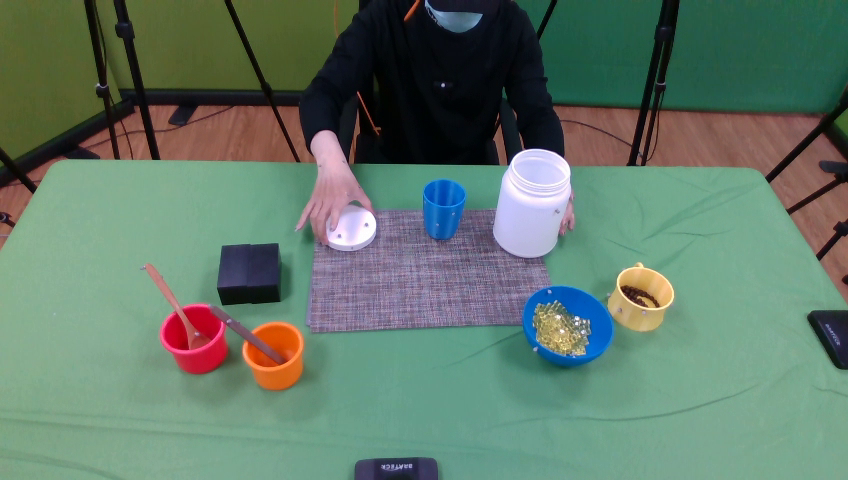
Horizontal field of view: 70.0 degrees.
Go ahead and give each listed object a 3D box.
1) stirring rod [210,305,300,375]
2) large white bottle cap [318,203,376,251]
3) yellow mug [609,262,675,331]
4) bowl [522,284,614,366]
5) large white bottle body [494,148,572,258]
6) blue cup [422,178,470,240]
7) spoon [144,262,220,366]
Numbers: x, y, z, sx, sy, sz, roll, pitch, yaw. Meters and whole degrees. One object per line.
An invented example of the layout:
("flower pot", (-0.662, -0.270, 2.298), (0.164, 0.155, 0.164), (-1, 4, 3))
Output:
("stirring rod", (-0.262, 0.158, 0.946), (0.177, 0.006, 0.014), (43, 43, -21))
("large white bottle cap", (-0.153, -0.027, 1.203), (0.115, 0.018, 0.114), (4, 50, -4))
("yellow mug", (0.393, 0.094, 1.103), (0.100, 0.064, 0.130), (7, 45, 4))
("bowl", (0.235, 0.158, 1.022), (0.151, 0.077, 0.150), (2, 46, -2))
("large white bottle body", (0.208, -0.071, 1.161), (0.131, 0.185, 0.130), (2, 46, -1))
("blue cup", (0.036, -0.056, 1.192), (0.093, 0.101, 0.092), (3, 45, -3))
("spoon", (-0.389, 0.118, 0.971), (0.041, 0.021, 0.194), (-34, 101, -33))
